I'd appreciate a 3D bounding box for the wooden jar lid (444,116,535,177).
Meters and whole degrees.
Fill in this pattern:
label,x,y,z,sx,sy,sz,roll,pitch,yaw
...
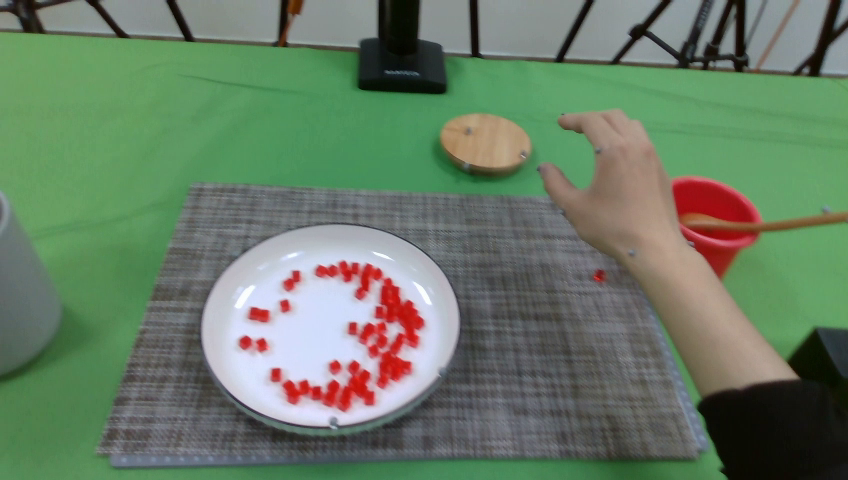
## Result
label,x,y,z,sx,sy,sz,roll,pitch,yaw
wooden jar lid,0.077,-0.111,0.722,0.108,0.021,0.107,4,46,-4

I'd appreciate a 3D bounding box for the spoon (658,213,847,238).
label,x,y,z,sx,sy,sz,roll,pitch,yaw
spoon,0.298,-0.013,0.555,0.042,0.022,0.192,-20,11,-30

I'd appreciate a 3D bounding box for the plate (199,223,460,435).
label,x,y,z,sx,sy,sz,roll,pitch,yaw
plate,-0.075,0.071,0.504,0.208,0.039,0.205,4,45,-4

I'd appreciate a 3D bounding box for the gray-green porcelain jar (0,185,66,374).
label,x,y,z,sx,sy,sz,roll,pitch,yaw
gray-green porcelain jar,-0.339,0.033,0.450,0.106,0.127,0.105,4,45,-4
